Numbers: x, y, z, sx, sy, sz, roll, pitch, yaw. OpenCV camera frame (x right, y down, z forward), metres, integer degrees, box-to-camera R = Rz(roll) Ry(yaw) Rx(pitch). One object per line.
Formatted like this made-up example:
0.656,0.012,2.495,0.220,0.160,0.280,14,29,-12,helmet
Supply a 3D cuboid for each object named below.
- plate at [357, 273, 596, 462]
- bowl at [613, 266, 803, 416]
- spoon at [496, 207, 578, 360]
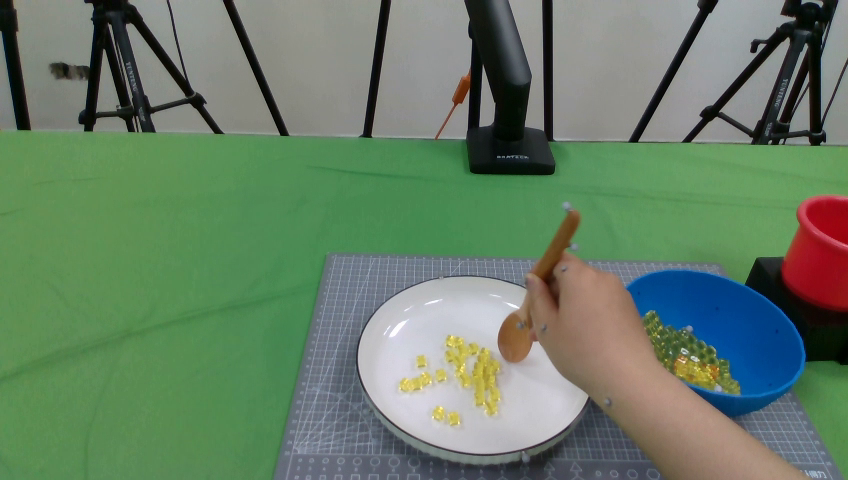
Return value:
0.045,0.110,0.541,0.208,0.039,0.205,1,37,-1,plate
0.234,0.100,0.530,0.151,0.077,0.150,1,38,-1,bowl
0.088,0.041,0.485,0.022,0.195,0.041,-15,56,-17,spoon
